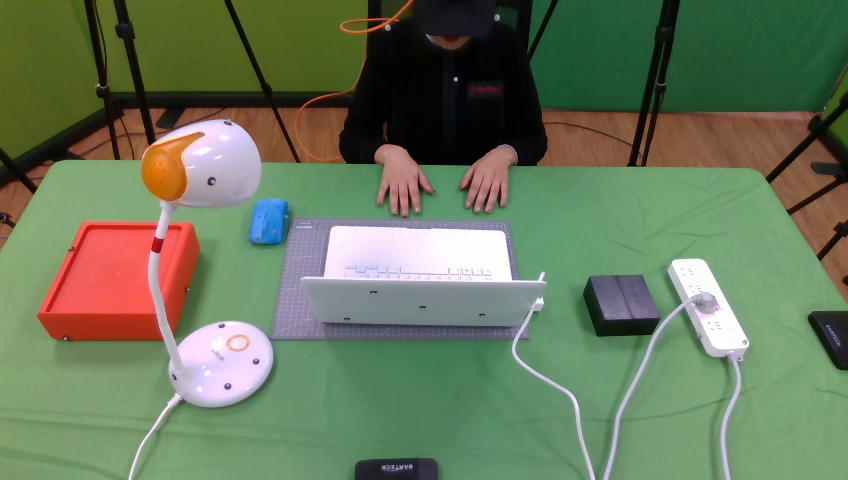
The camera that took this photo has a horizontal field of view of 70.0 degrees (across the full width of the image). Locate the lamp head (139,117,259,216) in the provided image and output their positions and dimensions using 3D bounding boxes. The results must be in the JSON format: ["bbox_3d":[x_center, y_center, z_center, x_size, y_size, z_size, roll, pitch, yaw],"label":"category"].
[{"bbox_3d":[-0.281,-0.086,0.734,0.112,0.113,0.123,21,25,16],"label":"lamp head"}]

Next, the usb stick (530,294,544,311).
[{"bbox_3d":[0.183,0.111,1.086,0.059,0.027,0.021,0,47,-4],"label":"usb stick"}]

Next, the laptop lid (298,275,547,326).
[{"bbox_3d":[-0.004,0.099,0.947,0.357,0.242,0.013,2,67,-4],"label":"laptop lid"}]

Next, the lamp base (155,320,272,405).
[{"bbox_3d":[-0.330,0.149,0.918,0.160,0.181,0.179,26,52,20],"label":"lamp base"}]

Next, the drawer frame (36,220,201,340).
[{"bbox_3d":[-0.518,0.065,1.055,0.202,0.083,0.212,0,47,-5],"label":"drawer frame"}]

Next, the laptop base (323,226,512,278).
[{"bbox_3d":[-0.011,0.063,1.137,0.354,0.023,0.234,1,43,-3],"label":"laptop base"}]

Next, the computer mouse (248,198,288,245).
[{"bbox_3d":[-0.309,-0.041,1.205,0.063,0.041,0.116,3,50,-3],"label":"computer mouse"}]

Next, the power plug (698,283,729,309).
[{"bbox_3d":[0.510,0.096,1.060,0.052,0.073,0.035,-20,61,8],"label":"power plug"}]

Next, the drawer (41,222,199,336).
[{"bbox_3d":[-0.519,0.064,1.058,0.195,0.073,0.210,1,46,-4],"label":"drawer"}]

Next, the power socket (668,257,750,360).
[{"bbox_3d":[0.517,0.117,1.109,0.072,0.033,0.225,-3,47,-4],"label":"power socket"}]
